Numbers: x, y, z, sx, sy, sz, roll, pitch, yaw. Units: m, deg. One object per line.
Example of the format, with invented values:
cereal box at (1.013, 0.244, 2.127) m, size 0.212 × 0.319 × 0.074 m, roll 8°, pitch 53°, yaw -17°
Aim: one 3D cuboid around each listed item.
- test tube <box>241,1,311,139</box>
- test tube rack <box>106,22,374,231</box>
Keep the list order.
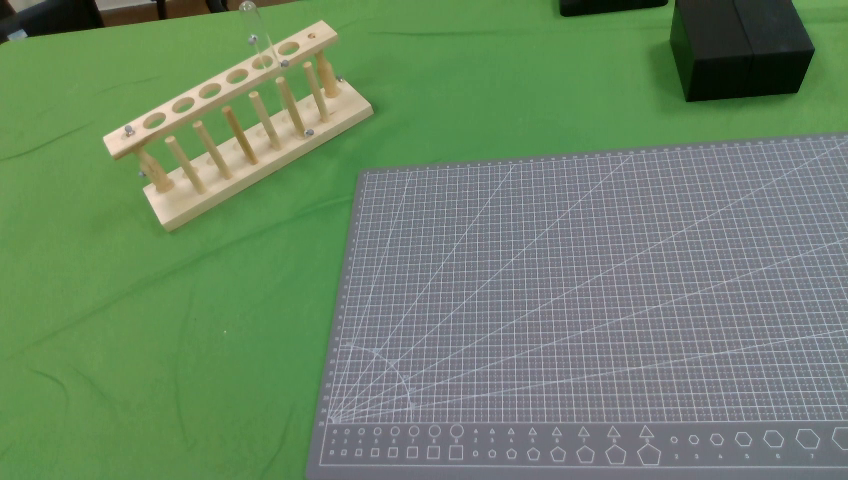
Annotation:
test tube at (-0.138, -0.156, 0.576) m, size 0.017 × 0.152 × 0.017 m, roll -6°, pitch 50°, yaw 8°
test tube rack at (-0.177, -0.117, 0.612) m, size 0.242 × 0.086 × 0.066 m, roll -33°, pitch 54°, yaw -13°
